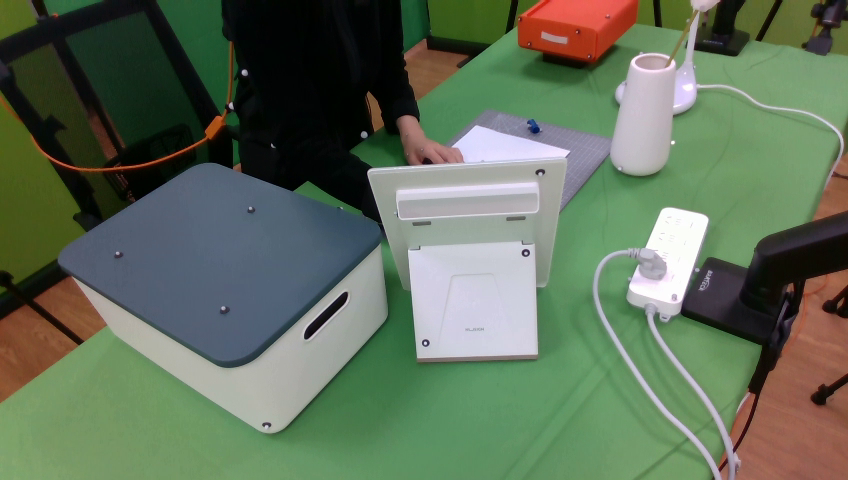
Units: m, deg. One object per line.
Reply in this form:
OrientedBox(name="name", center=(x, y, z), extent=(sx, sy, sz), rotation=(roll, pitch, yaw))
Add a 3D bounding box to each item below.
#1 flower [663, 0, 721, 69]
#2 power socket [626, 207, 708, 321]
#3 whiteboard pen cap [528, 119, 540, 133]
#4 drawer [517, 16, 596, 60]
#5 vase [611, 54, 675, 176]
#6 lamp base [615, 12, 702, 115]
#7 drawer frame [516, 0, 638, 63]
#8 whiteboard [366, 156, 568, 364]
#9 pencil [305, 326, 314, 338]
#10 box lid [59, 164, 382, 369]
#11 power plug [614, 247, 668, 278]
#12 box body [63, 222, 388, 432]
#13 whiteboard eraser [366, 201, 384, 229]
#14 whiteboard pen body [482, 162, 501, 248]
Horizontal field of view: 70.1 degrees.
OrientedBox(name="flower", center=(0.379, -0.261, 0.965), extent=(0.044, 0.362, 0.038), rotation=(20, 53, 5))
OrientedBox(name="power socket", center=(0.359, 0.025, 0.886), extent=(0.072, 0.033, 0.227), rotation=(16, 46, 26))
OrientedBox(name="whiteboard pen cap", center=(0.221, -0.229, 1.211), extent=(0.018, 0.018, 0.033), rotation=(-13, 40, -7))
OrientedBox(name="drawer", center=(0.352, -0.506, 1.405), extent=(0.193, 0.073, 0.212), rotation=(23, 49, 32))
OrientedBox(name="vase", center=(0.377, -0.209, 1.031), extent=(0.098, 0.201, 0.097), rotation=(-3, 40, 3))
OrientedBox(name="lamp base", center=(0.484, -0.363, 1.211), extent=(0.180, 0.181, 0.159), rotation=(-15, 41, -14))
OrientedBox(name="drawer frame", center=(0.355, -0.508, 1.410), extent=(0.200, 0.083, 0.214), rotation=(23, 51, 32))
OrientedBox(name="whiteboard", center=(0.059, 0.050, 0.738), extent=(0.217, 0.307, 0.143), rotation=(-2, 60, 6))
OrientedBox(name="pencil", center=(-0.187, 0.106, 0.880), extent=(0.012, 0.012, 0.192), rotation=(-27, 42, -22))
OrientedBox(name="box lid", center=(-0.263, 0.010, 0.777), extent=(0.368, 0.015, 0.264), rotation=(20, 47, 29))
OrientedBox(name="power plug", center=(0.306, 0.031, 0.851), extent=(0.072, 0.053, 0.035), rotation=(24, 49, 33))
OrientedBox(name="box body", center=(-0.256, 0.065, 0.827), extent=(0.361, 0.161, 0.255), rotation=(20, 48, 29))
OrientedBox(name="whiteboard eraser", center=(-0.038, -0.038, 1.006), extent=(0.112, 0.042, 0.055), rotation=(17, 48, 25))
OrientedBox(name="whiteboard pen body", center=(0.094, -0.050, 0.836), extent=(0.017, 0.017, 0.140), rotation=(-5, 60, 2))
